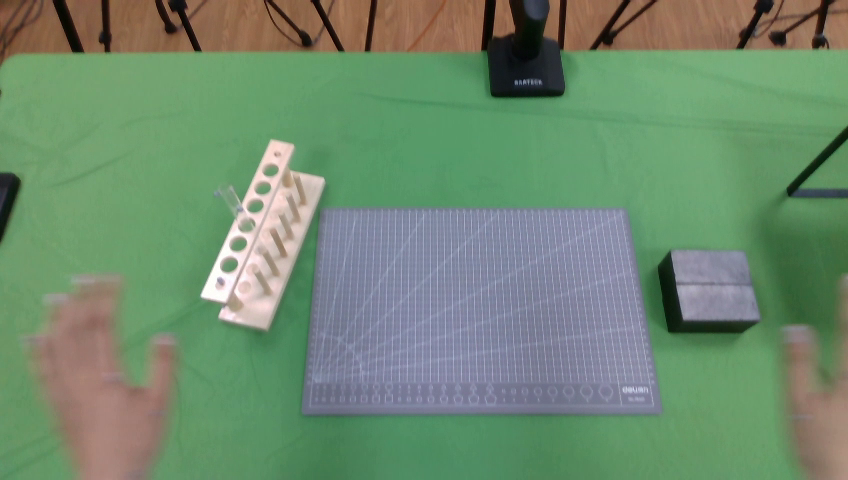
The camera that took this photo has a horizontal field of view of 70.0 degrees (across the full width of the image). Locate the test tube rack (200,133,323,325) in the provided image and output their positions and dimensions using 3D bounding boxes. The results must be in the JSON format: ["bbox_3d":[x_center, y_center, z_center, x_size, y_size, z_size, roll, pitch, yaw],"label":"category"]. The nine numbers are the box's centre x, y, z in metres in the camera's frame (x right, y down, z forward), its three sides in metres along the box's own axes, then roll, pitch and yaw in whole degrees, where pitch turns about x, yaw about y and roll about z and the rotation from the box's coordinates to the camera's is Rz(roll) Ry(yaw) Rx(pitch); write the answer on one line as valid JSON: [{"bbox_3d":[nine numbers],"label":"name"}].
[{"bbox_3d":[-0.211,-0.018,0.817,0.066,0.086,0.241,13,64,6],"label":"test tube rack"}]

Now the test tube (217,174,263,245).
[{"bbox_3d":[-0.231,-0.034,0.770,0.017,0.151,0.017,-1,60,2],"label":"test tube"}]
